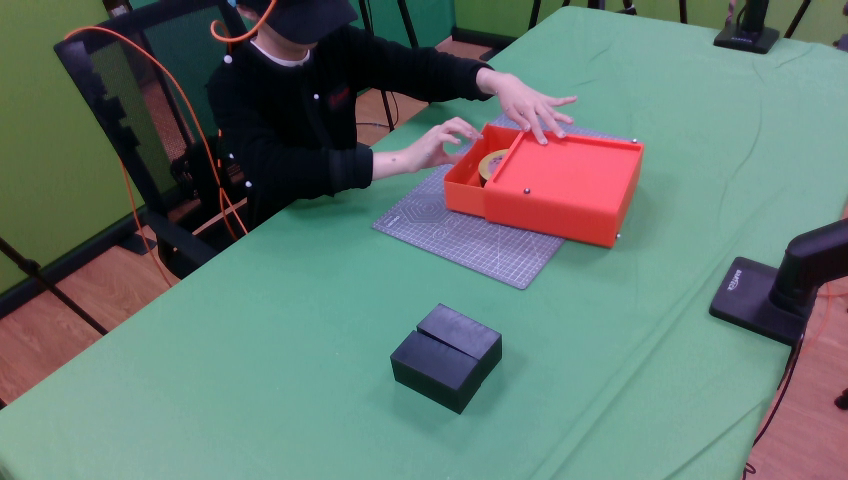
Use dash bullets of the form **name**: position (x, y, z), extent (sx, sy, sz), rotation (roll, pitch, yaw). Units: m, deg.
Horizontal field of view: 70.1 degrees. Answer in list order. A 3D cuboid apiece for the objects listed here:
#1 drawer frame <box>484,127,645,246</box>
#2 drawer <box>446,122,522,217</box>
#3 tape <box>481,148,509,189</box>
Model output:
- **drawer frame**: position (0.234, -0.096, 1.003), extent (0.212, 0.083, 0.202), rotation (13, 44, 22)
- **drawer**: position (0.172, -0.111, 1.033), extent (0.210, 0.073, 0.194), rotation (15, 44, 23)
- **tape**: position (0.156, -0.106, 1.040), extent (0.117, 0.053, 0.116), rotation (-5, 41, 5)
